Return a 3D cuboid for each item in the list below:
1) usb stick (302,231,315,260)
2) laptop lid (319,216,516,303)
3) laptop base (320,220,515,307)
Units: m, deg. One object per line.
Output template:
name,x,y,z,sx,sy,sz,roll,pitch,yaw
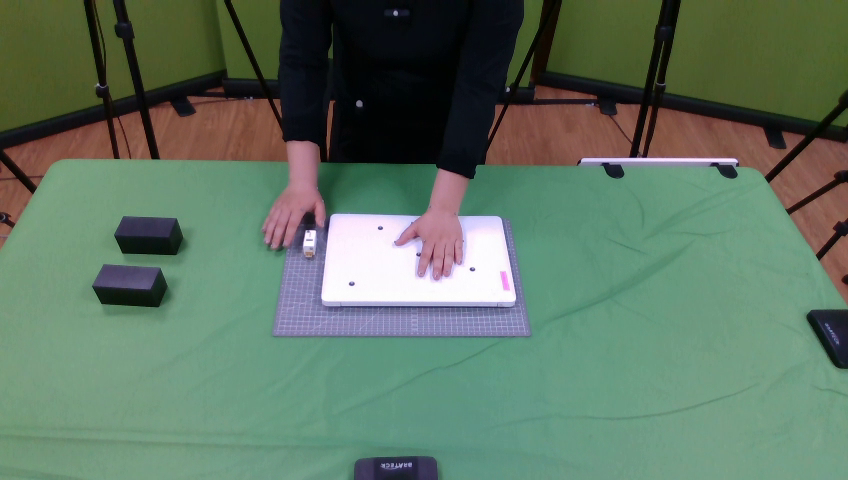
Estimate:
usb stick,-0.223,0.011,1.163,0.021,0.027,0.059,3,49,-6
laptop lid,-0.013,0.031,1.155,0.357,0.013,0.240,2,43,-3
laptop base,-0.013,0.040,1.160,0.355,0.023,0.234,0,42,-4
